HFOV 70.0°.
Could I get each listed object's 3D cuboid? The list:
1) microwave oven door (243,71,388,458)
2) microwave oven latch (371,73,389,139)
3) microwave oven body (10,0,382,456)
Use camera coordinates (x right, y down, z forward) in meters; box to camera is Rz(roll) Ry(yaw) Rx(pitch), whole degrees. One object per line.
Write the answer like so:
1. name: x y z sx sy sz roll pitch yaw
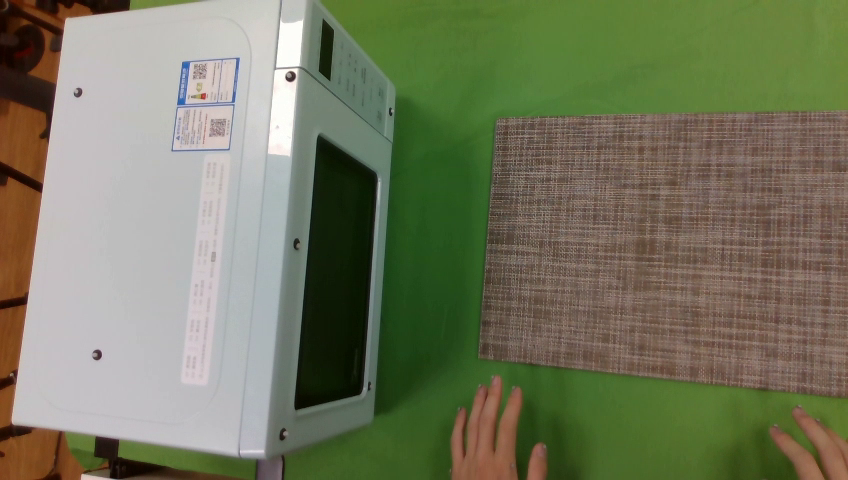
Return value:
1. microwave oven door: -0.105 0.032 0.656 0.039 0.245 0.354 0 83 18
2. microwave oven latch: -0.061 -0.171 0.776 0.030 0.029 0.079 2 84 17
3. microwave oven body: -0.241 -0.010 0.709 0.325 0.261 0.440 1 84 17
